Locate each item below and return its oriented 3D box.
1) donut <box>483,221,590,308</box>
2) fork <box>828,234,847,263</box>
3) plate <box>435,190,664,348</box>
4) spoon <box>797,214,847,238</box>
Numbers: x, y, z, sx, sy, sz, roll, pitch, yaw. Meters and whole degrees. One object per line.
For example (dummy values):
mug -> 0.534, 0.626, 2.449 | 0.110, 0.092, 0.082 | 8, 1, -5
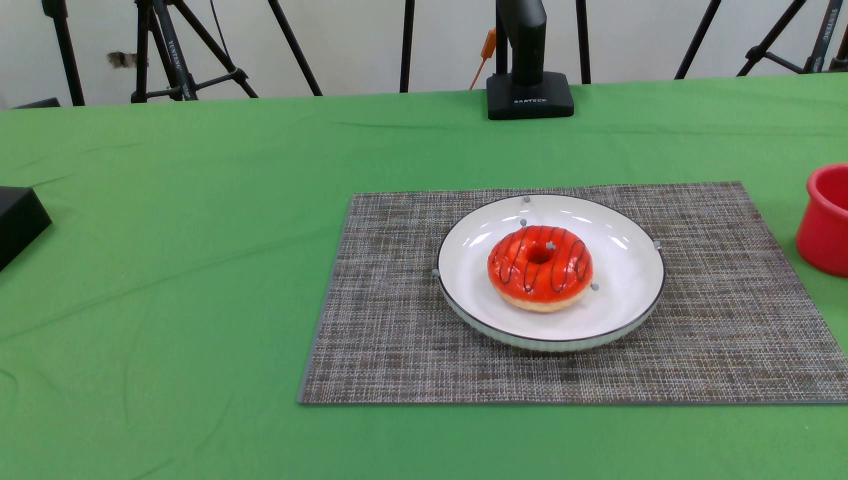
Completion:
donut -> 0.105, 0.022, 0.565 | 0.099, 0.049, 0.098 | -4, 42, 4
fork -> 0.446, -0.066, 0.563 | 0.019, 0.207, 0.028 | 28, 7, -16
plate -> 0.115, 0.027, 0.576 | 0.209, 0.038, 0.207 | -3, 40, 3
spoon -> 0.415, -0.024, 0.526 | 0.041, 0.193, 0.021 | -30, 90, -17
